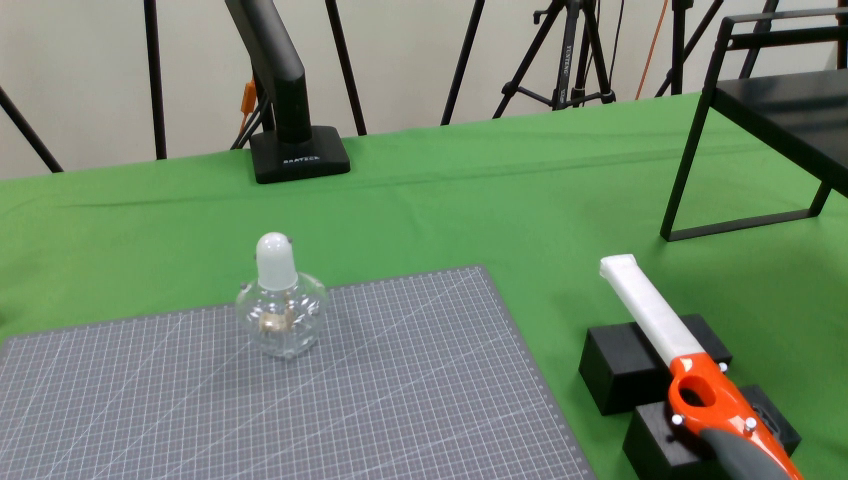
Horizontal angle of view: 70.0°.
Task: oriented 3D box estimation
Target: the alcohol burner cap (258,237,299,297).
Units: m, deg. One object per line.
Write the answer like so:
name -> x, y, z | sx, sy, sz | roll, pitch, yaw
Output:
alcohol burner cap -> -0.121, 0.019, 0.497 | 0.034, 0.048, 0.033 | 3, 35, -2

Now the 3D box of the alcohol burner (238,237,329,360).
alcohol burner -> -0.120, 0.045, 0.515 | 0.078, 0.120, 0.077 | 2, 37, -1

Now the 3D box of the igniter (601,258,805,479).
igniter -> 0.198, 0.100, 0.445 | 0.057, 0.025, 0.273 | -8, 35, -6
